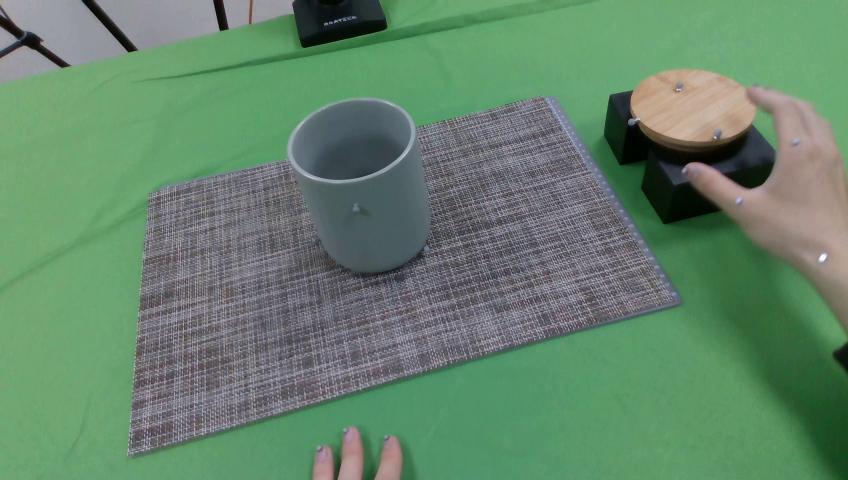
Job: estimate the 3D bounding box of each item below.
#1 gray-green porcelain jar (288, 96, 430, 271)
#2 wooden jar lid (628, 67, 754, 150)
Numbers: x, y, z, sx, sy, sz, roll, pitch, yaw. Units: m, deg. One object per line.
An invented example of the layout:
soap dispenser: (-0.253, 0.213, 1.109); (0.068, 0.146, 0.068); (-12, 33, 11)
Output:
gray-green porcelain jar: (-0.051, -0.043, 0.530); (0.106, 0.128, 0.105); (-4, 49, 5)
wooden jar lid: (0.245, -0.121, 0.562); (0.108, 0.021, 0.107); (-4, 51, 5)
